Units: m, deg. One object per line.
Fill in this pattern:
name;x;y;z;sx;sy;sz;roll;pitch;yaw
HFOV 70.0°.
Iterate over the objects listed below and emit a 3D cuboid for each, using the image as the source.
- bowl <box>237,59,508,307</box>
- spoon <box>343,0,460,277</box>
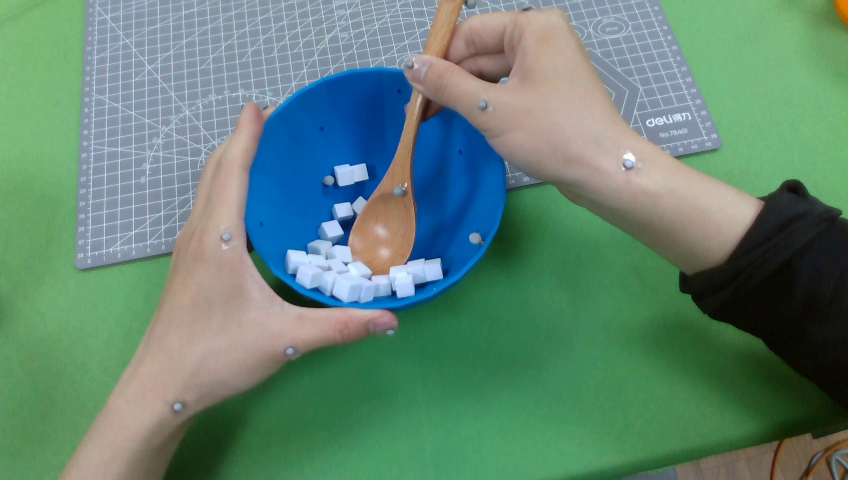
bowl;-0.028;-0.024;0.372;0.151;0.077;0.150;0;71;1
spoon;-0.005;-0.070;0.336;0.041;0.022;0.194;24;106;20
